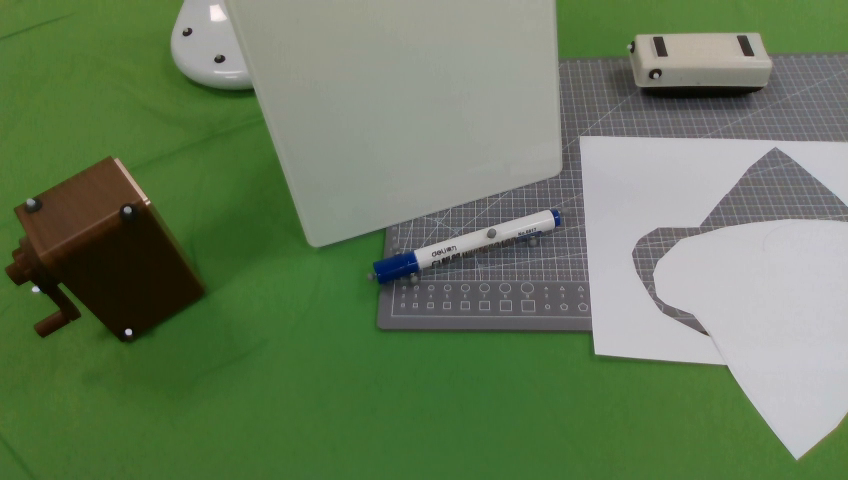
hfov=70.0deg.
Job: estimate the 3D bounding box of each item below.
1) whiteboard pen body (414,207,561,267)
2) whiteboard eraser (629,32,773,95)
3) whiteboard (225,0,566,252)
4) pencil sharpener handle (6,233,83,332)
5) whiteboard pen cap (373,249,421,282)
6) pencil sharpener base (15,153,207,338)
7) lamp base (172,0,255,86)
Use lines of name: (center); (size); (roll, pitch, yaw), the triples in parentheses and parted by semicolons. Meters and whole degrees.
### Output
whiteboard pen body: (0.036, 0.001, 0.452); (0.141, 0.017, 0.017); (-17, 54, -7)
whiteboard eraser: (0.245, -0.158, 0.544); (0.112, 0.042, 0.055); (1, 54, 5)
whiteboard: (-0.028, -0.180, 0.455); (0.217, 0.308, 0.142); (-17, 35, -7)
pencil sharpener handle: (-0.249, 0.030, 0.386); (0.030, 0.068, 0.035); (-35, 46, -20)
whiteboard pen cap: (-0.020, 0.019, 0.444); (0.033, 0.018, 0.018); (-18, 54, -7)
pencil sharpener base: (-0.211, 0.008, 0.416); (0.076, 0.108, 0.061); (-35, 59, -20)
lamp base: (-0.192, -0.266, 0.570); (0.177, 0.182, 0.160); (36, 63, 29)
